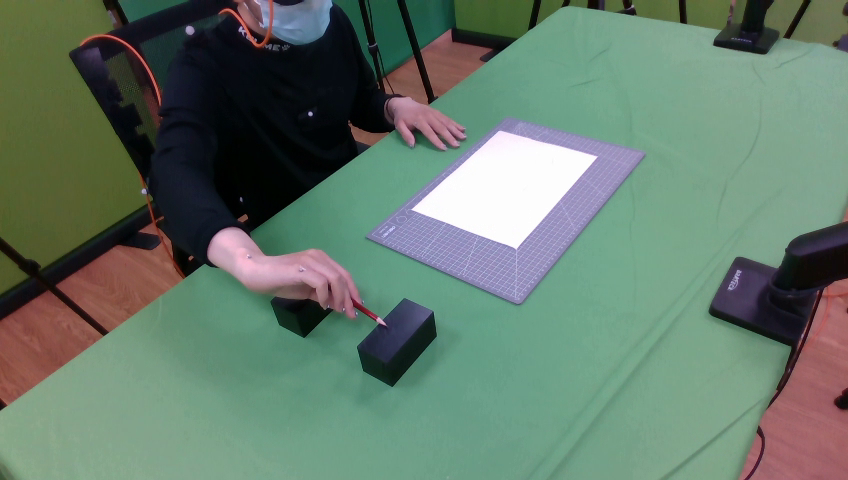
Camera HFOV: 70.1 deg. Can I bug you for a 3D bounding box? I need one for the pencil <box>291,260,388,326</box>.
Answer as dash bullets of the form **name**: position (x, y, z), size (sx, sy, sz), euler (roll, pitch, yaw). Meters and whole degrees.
- **pencil**: position (-0.119, 0.072, 0.835), size (0.192, 0.012, 0.012), euler (28, 52, 31)
